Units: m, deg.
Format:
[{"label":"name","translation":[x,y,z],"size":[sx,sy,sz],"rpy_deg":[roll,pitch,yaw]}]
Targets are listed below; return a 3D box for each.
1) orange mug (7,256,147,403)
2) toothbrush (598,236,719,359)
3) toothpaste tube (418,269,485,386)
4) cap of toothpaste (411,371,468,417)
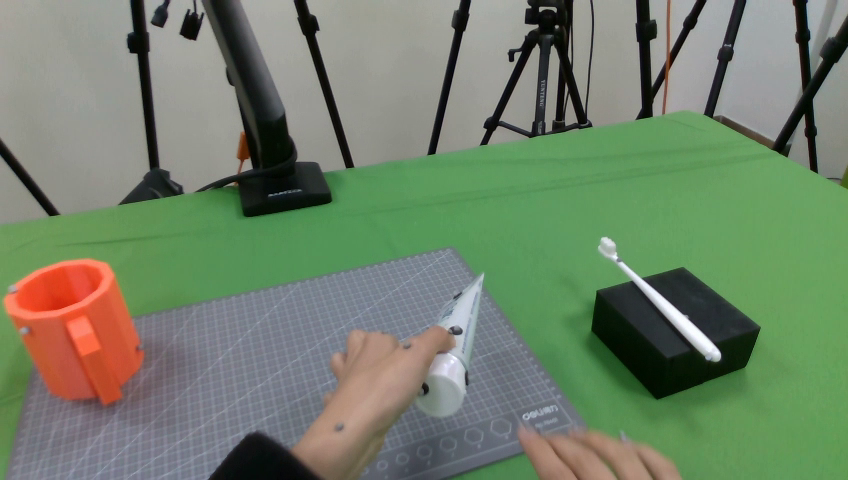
[{"label":"orange mug","translation":[-0.299,0.084,0.537],"size":[0.083,0.101,0.125],"rpy_deg":[-24,35,-31]},{"label":"toothbrush","translation":[0.212,0.047,0.564],"size":[0.014,0.017,0.180],"rpy_deg":[-6,33,-16]},{"label":"toothpaste tube","translation":[0.023,0.071,0.473],"size":[0.055,0.035,0.164],"rpy_deg":[-37,12,20]},{"label":"cap of toothpaste","translation":[0.009,0.101,0.402],"size":[0.037,0.037,0.011],"rpy_deg":[3,23,8]}]
